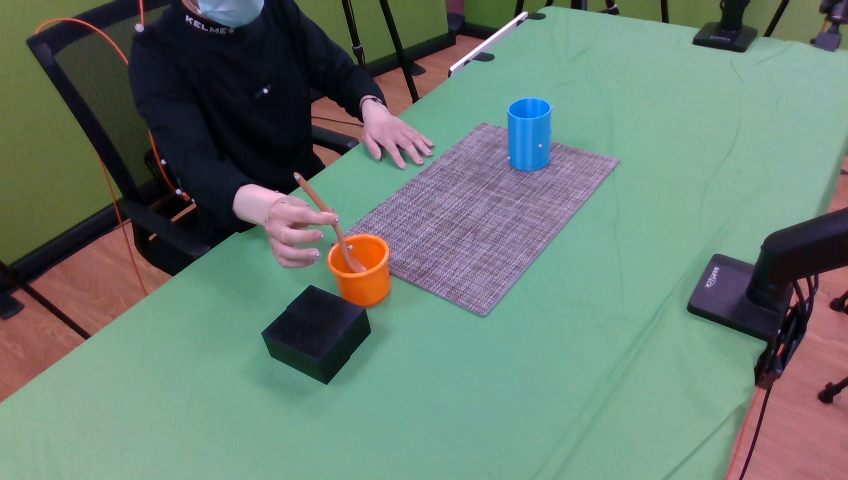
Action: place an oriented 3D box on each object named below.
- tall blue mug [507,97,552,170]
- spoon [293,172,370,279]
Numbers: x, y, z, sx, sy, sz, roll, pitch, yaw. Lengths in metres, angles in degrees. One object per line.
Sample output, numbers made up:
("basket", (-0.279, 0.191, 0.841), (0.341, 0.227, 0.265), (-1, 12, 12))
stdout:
("tall blue mug", (0.179, -0.198, 1.101), (0.078, 0.108, 0.106), (-36, 49, -28))
("spoon", (-0.124, -0.017, 0.827), (0.021, 0.195, 0.041), (-24, 33, 4))
